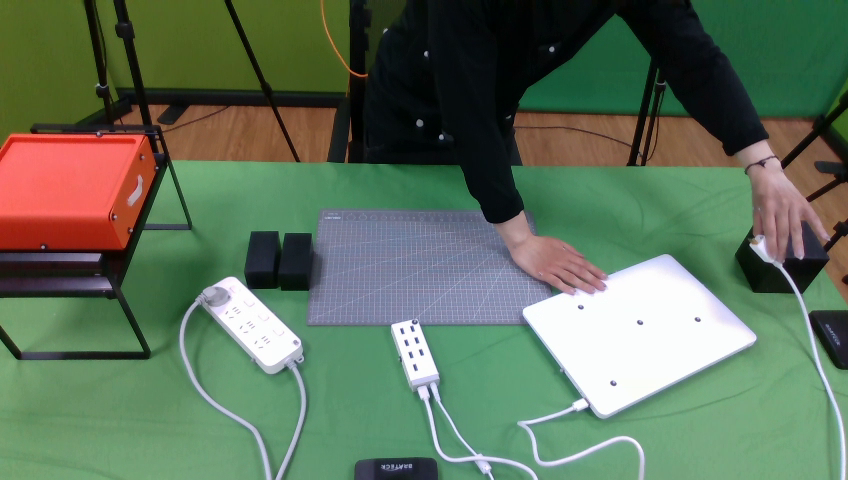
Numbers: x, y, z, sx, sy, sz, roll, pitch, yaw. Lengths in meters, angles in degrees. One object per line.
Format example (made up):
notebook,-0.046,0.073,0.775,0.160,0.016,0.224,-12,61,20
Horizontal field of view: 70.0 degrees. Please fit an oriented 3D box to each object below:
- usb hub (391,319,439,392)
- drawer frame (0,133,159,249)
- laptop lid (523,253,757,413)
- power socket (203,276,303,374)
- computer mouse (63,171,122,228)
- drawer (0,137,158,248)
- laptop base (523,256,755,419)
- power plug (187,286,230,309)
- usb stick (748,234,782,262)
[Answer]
usb hub,-0.016,0.190,1.013,0.049,0.025,0.124,-11,48,-15
drawer frame,-0.553,-0.078,0.942,0.214,0.083,0.200,-1,47,-4
laptop lid,0.380,0.147,1.073,0.357,0.013,0.240,-17,48,-19
power socket,-0.297,0.141,1.034,0.225,0.033,0.072,37,55,27
computer mouse,-0.522,-0.067,0.955,0.063,0.041,0.116,1,48,-9
drawer,-0.549,-0.080,0.943,0.212,0.073,0.193,1,47,-4
laptop base,0.381,0.159,1.082,0.355,0.023,0.234,-18,48,-21
power plug,-0.370,0.103,1.039,0.072,0.053,0.035,-26,54,-23
usb stick,0.588,0.009,1.050,0.059,0.027,0.021,39,7,-9
